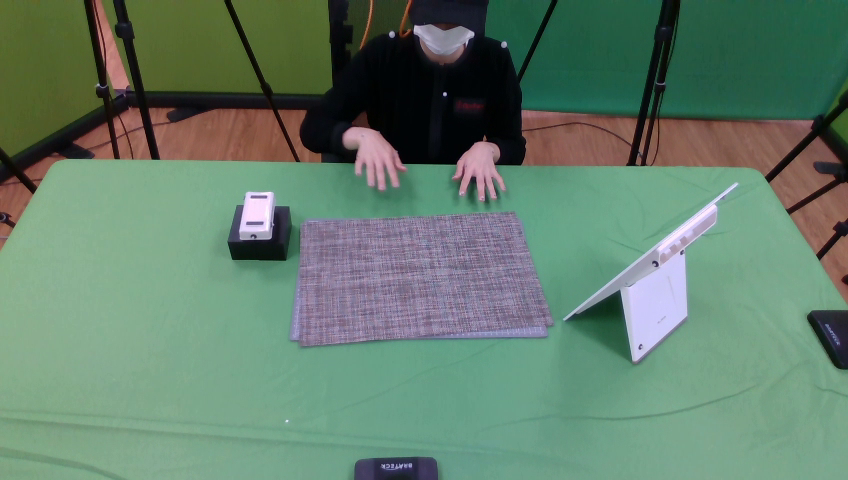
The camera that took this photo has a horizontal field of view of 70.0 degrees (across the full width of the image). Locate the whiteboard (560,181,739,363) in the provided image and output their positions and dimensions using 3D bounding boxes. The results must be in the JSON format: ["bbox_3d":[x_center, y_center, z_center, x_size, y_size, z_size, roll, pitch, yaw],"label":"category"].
[{"bbox_3d":[0.406,0.076,1.000,0.217,0.306,0.143,-29,74,-29],"label":"whiteboard"}]

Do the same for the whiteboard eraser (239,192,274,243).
[{"bbox_3d":[-0.312,-0.043,1.131,0.055,0.042,0.112,-3,46,-5],"label":"whiteboard eraser"}]
